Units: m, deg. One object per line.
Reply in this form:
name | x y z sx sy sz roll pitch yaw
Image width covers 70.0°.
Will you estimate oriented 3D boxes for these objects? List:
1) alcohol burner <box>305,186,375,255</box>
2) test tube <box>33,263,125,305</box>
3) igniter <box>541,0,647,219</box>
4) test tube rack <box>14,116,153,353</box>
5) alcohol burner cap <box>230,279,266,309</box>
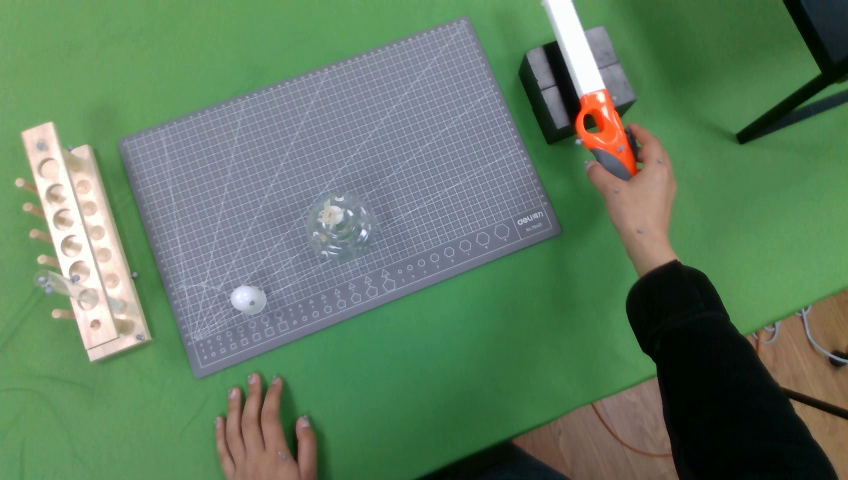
alcohol burner | -0.093 -0.024 0.652 0.078 0.119 0.077 0 82 -1
test tube | -0.336 0.046 0.601 0.017 0.151 0.017 0 75 -1
igniter | 0.186 -0.156 0.667 0.057 0.025 0.275 -17 81 -7
test tube rack | -0.380 -0.002 0.657 0.067 0.085 0.241 -21 82 -4
alcohol burner cap | -0.197 0.058 0.672 0.034 0.048 0.033 0 80 -1
